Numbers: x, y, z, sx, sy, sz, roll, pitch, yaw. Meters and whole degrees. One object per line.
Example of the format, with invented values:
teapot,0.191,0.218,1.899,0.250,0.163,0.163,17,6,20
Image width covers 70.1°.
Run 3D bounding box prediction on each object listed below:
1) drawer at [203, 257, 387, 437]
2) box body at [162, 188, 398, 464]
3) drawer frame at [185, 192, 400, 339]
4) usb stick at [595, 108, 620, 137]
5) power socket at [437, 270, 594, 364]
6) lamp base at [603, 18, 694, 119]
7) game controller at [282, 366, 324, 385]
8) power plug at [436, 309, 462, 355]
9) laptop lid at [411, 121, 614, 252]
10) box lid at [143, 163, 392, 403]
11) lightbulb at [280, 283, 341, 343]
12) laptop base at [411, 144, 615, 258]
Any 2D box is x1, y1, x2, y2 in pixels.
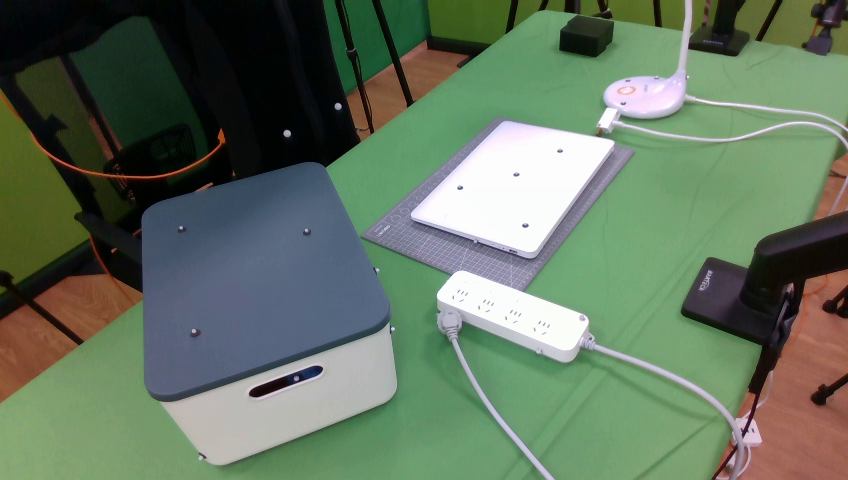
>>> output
drawer,-0.171,0.127,0.779,0.195,0.073,0.210,-16,35,-15
box body,-0.205,0.080,0.802,0.255,0.161,0.361,-18,41,-13
drawer frame,-0.174,0.079,0.769,0.201,0.214,0.082,-31,18,25
usb stick,0.355,-0.225,1.175,0.027,0.022,0.059,29,85,40
power socket,0.118,0.102,0.830,0.225,0.033,0.072,20,48,28
lamp base,0.460,-0.355,1.204,0.179,0.181,0.160,2,41,7
game controller,-0.159,0.114,0.735,0.154,0.052,0.097,29,51,34
power plug,0.032,0.126,0.809,0.035,0.053,0.072,3,58,7
laptop lid,0.164,-0.112,1.068,0.240,0.013,0.357,19,46,30
box lid,-0.212,0.025,0.753,0.264,0.015,0.368,-18,40,-13
lightbulb,-0.152,0.102,0.826,0.060,0.060,0.107,-35,61,-29
laptop base,0.167,-0.102,1.074,0.234,0.023,0.355,17,45,30
